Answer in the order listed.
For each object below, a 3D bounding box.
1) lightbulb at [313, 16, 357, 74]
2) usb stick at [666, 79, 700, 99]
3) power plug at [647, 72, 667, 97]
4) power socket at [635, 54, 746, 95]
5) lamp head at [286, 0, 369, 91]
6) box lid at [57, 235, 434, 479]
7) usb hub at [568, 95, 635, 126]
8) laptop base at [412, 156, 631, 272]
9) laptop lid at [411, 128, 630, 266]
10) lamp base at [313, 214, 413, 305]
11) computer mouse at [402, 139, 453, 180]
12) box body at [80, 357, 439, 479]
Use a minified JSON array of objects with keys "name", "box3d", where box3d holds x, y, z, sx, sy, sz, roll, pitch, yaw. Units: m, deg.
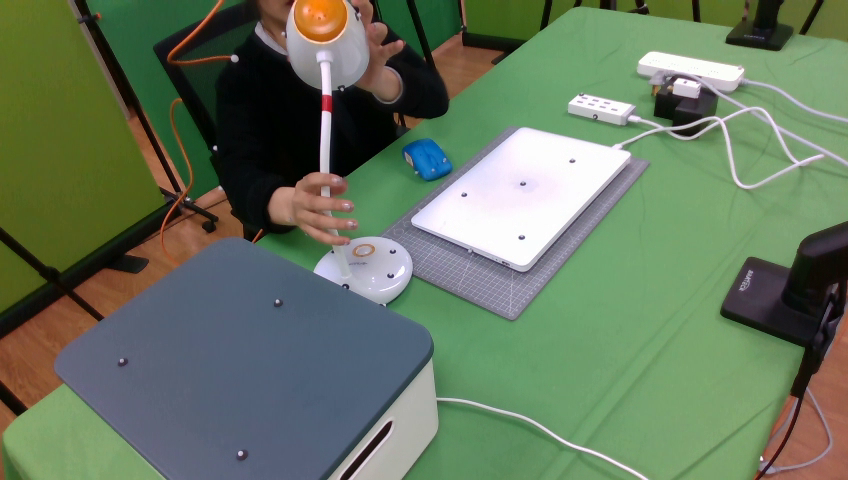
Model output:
[{"name":"lightbulb","box3d":[-0.124,-0.263,0.806,0.059,0.108,0.059,-1,80,4]},{"name":"usb stick","box3d":[0.492,-0.288,1.152,0.058,0.027,0.021,20,50,34]},{"name":"power plug","box3d":[0.494,-0.320,1.260,0.073,0.052,0.035,1,19,-40]},{"name":"power socket","box3d":[0.564,-0.357,1.293,0.225,0.033,0.072,24,51,33]},{"name":"lamp head","box3d":[-0.128,-0.260,0.781,0.112,0.112,0.123,-13,1,-4]},{"name":"box lid","box3d":[-0.198,0.123,0.653,0.368,0.015,0.264,22,49,32]},{"name":"usb hub","box3d":[0.360,-0.264,1.228,0.124,0.025,0.049,24,49,34]},{"name":"laptop base","box3d":[0.176,-0.084,1.055,0.233,0.023,0.355,21,48,36]},{"name":"laptop lid","box3d":[0.172,-0.093,1.049,0.239,0.013,0.358,24,50,36]},{"name":"lamp base","box3d":[-0.107,0.002,0.882,0.160,0.181,0.178,-7,43,4]},{"name":"computer mouse","box3d":[0.006,-0.159,1.166,0.063,0.041,0.116,-21,45,-16]},{"name":"box body","box3d":[-0.189,0.178,0.702,0.361,0.161,0.255,22,49,32]}]
